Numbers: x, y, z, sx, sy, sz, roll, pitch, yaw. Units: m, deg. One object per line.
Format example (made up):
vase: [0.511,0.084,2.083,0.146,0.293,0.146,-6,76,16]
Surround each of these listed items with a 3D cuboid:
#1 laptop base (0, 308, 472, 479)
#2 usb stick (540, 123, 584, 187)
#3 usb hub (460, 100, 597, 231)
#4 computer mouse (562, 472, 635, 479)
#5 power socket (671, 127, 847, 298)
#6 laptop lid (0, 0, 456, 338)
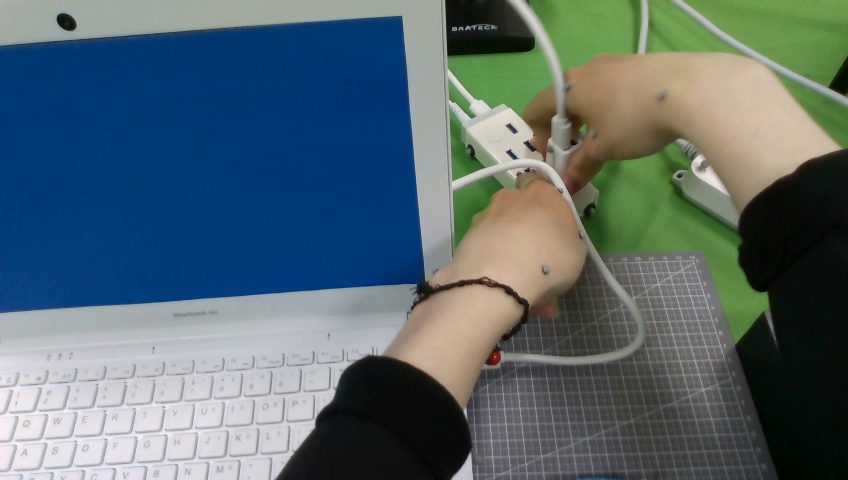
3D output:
laptop base: [-0.147,0.158,0.359,0.354,0.023,0.233,-4,58,0]
usb stick: [0.103,-0.059,0.457,0.021,0.059,0.027,39,75,22]
usb hub: [0.083,-0.065,0.502,0.049,0.025,0.124,-28,59,-16]
computer mouse: [0.099,0.180,0.317,0.062,0.041,0.116,7,51,11]
power socket: [0.298,-0.010,0.450,0.072,0.033,0.224,-38,61,-22]
laptop lid: [-0.160,-0.028,0.348,0.357,0.244,0.013,-5,41,1]
